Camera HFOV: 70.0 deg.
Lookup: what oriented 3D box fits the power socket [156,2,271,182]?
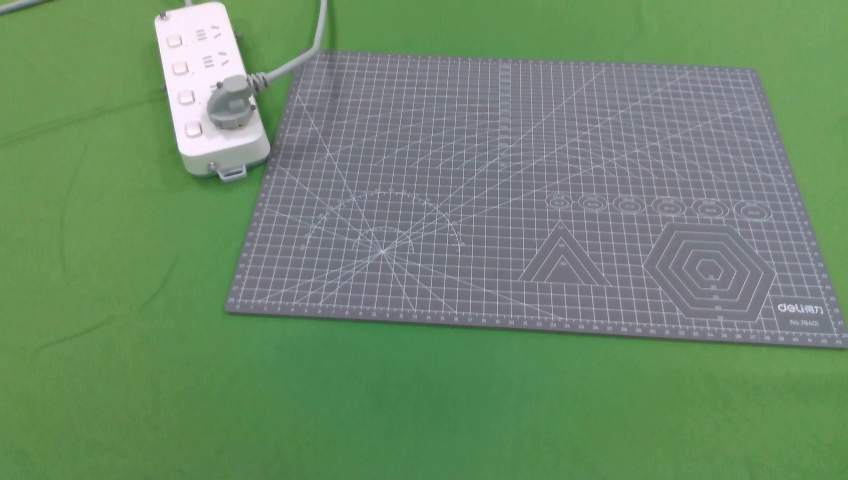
[{"bbox_3d":[-0.198,-0.146,0.562,0.072,0.033,0.224,-16,57,-12],"label":"power socket"}]

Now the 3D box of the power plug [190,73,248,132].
[{"bbox_3d":[-0.182,-0.117,0.514,0.072,0.035,0.052,0,58,27],"label":"power plug"}]
